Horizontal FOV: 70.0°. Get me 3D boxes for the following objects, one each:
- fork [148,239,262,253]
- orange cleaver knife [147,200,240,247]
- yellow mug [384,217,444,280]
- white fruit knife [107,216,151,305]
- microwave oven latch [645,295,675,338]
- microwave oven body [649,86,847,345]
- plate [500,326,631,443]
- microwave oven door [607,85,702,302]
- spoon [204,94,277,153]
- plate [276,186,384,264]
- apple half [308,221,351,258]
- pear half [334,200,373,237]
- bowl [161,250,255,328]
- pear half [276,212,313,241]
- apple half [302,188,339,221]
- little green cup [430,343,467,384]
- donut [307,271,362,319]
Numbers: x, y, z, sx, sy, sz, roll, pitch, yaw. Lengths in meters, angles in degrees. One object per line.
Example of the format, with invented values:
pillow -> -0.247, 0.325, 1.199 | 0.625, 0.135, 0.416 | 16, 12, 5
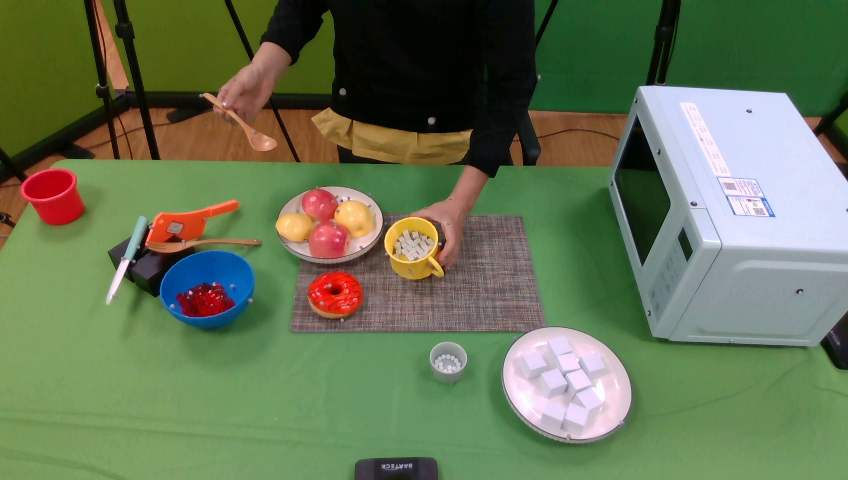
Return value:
fork -> -0.398, 0.008, 1.117 | 0.208, 0.019, 0.028 | -5, 34, -37
orange cleaver knife -> -0.435, -0.033, 1.157 | 0.012, 0.077, 0.211 | 31, 26, 18
yellow mug -> -0.009, 0.024, 1.122 | 0.100, 0.064, 0.130 | -41, 63, -15
white fruit knife -> -0.518, 0.032, 1.066 | 0.027, 0.016, 0.206 | -19, 45, 19
microwave oven latch -> 0.412, 0.134, 1.061 | 0.030, 0.029, 0.078 | 3, 45, 0
microwave oven body -> 0.567, -0.053, 1.118 | 0.326, 0.261, 0.439 | 2, 45, -1
plate -> 0.224, 0.234, 0.978 | 0.208, 0.039, 0.206 | 2, 46, -2
microwave oven door -> 0.423, -0.094, 1.140 | 0.039, 0.245, 0.353 | 2, 46, -1
spoon -> -0.342, -0.219, 1.122 | 0.193, 0.022, 0.041 | 42, 61, 15
plate -> -0.184, -0.027, 1.195 | 0.209, 0.038, 0.208 | 2, 46, -2
apple half -> -0.180, -0.005, 1.150 | 0.074, 0.053, 0.080 | 14, 43, 9
pear half -> -0.147, -0.059, 1.209 | 0.076, 0.056, 0.109 | -16, 42, -25
bowl -> -0.362, 0.097, 1.040 | 0.151, 0.077, 0.150 | 2, 45, -2
pear half -> -0.244, -0.035, 1.178 | 0.070, 0.031, 0.088 | 40, 41, 1
apple half -> -0.205, -0.076, 1.217 | 0.081, 0.033, 0.081 | 18, 46, -19
little green cup -> 0.039, 0.203, 0.993 | 0.061, 0.039, 0.061 | 2, 46, -2
donut -> -0.157, 0.097, 1.072 | 0.099, 0.048, 0.098 | 4, 45, -4
